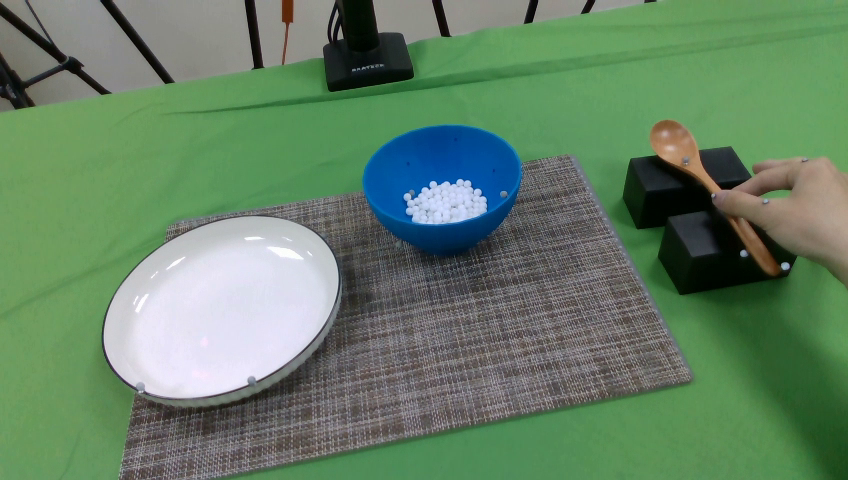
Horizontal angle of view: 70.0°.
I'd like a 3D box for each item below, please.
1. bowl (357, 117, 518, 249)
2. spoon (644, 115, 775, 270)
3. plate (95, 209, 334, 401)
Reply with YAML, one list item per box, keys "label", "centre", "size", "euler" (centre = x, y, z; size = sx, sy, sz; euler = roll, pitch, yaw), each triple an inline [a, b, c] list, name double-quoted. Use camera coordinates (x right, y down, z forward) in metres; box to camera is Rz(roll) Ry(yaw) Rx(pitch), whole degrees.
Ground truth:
- label: "bowl"
  centre: [0.015, -0.044, 0.589]
  size: [0.151, 0.077, 0.150]
  euler: [-3, 46, 4]
- label: "spoon"
  centre: [0.253, -0.049, 0.542]
  size: [0.041, 0.022, 0.191]
  euler: [-14, 48, -3]
- label: "plate"
  centre: [-0.181, 0.056, 0.546]
  size: [0.207, 0.039, 0.205]
  euler: [-3, 46, 4]
